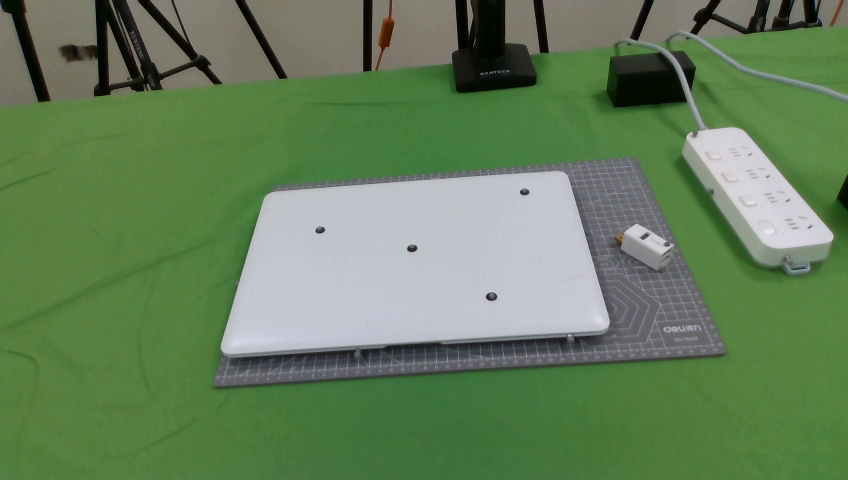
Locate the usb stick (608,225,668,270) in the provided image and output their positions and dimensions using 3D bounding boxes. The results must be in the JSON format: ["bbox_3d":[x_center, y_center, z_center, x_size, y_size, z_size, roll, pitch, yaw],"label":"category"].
[{"bbox_3d":[0.213,0.004,0.609,0.021,0.027,0.058,-31,44,-25],"label":"usb stick"}]

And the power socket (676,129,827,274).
[{"bbox_3d":[0.345,-0.053,0.655,0.072,0.033,0.224,-6,41,-1],"label":"power socket"}]

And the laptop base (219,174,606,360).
[{"bbox_3d":[-0.014,0.021,0.628,0.354,0.023,0.233,-4,45,2],"label":"laptop base"}]

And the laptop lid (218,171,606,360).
[{"bbox_3d":[-0.015,0.014,0.618,0.356,0.013,0.239,-3,44,4],"label":"laptop lid"}]
